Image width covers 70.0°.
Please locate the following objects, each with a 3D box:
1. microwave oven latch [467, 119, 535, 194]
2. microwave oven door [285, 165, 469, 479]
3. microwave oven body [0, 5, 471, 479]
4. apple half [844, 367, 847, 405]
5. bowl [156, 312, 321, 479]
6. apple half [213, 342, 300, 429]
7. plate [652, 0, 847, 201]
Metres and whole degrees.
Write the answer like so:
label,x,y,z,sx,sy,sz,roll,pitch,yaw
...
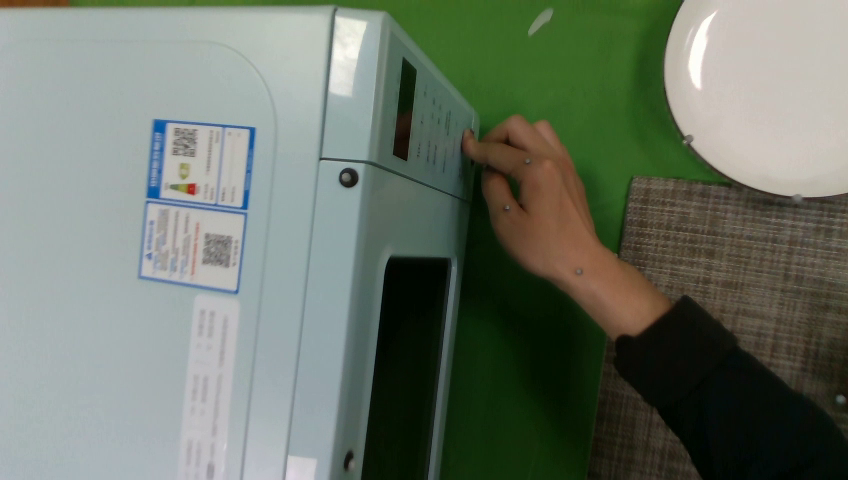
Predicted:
label,x,y,z,sx,sy,sz,roll,pitch,yaw
microwave oven latch,0.056,-0.074,0.518,0.079,0.029,0.030,43,101,13
microwave oven door,-0.030,0.137,0.433,0.039,0.245,0.355,7,91,18
microwave oven body,-0.162,0.079,0.479,0.325,0.261,0.441,7,91,16
apple half,0.329,0.109,0.428,0.053,0.075,0.080,-12,89,21
bowl,-0.141,0.128,0.513,0.150,0.077,0.151,3,99,24
apple half,-0.143,0.127,0.503,0.081,0.033,0.081,2,102,10
plate,0.286,-0.132,0.468,0.207,0.039,0.207,0,89,17
